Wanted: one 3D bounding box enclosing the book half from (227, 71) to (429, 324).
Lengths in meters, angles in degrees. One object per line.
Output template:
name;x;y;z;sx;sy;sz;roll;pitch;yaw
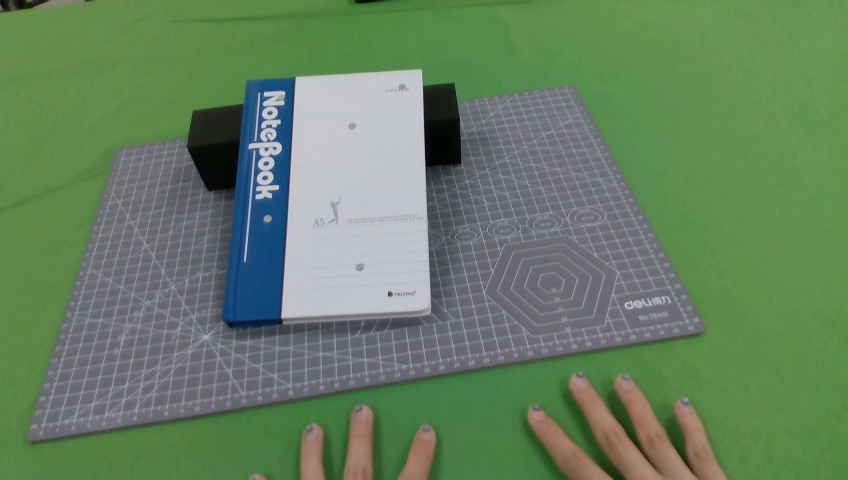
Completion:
book half;-0.071;-0.040;0.464;0.143;0.007;0.208;-3;66;2
